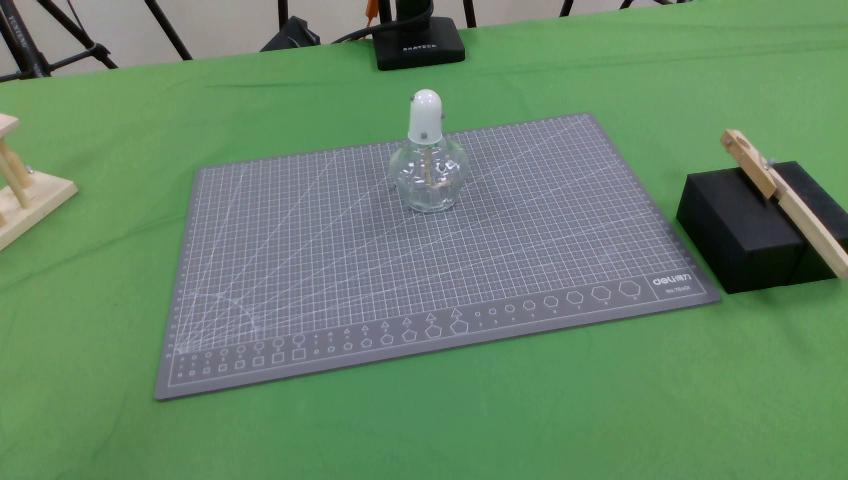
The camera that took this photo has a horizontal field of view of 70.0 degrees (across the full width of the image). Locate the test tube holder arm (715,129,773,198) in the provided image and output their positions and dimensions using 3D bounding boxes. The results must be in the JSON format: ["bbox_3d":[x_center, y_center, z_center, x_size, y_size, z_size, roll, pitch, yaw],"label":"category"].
[{"bbox_3d":[0.281,-0.068,0.529,0.010,0.015,0.087,-2,43,-9],"label":"test tube holder arm"}]

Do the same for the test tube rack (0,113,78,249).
[{"bbox_3d":[-0.452,-0.014,0.553,0.066,0.086,0.241,15,47,19],"label":"test tube rack"}]

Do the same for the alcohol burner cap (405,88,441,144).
[{"bbox_3d":[0.000,-0.113,0.544,0.034,0.048,0.033,2,42,-1],"label":"alcohol burner cap"}]

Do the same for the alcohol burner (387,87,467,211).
[{"bbox_3d":[0.002,-0.087,0.569,0.078,0.120,0.077,-3,42,3],"label":"alcohol burner"}]

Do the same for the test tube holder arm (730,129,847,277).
[{"bbox_3d":[0.293,-0.038,0.498,0.013,0.015,0.176,-2,43,-9],"label":"test tube holder arm"}]
